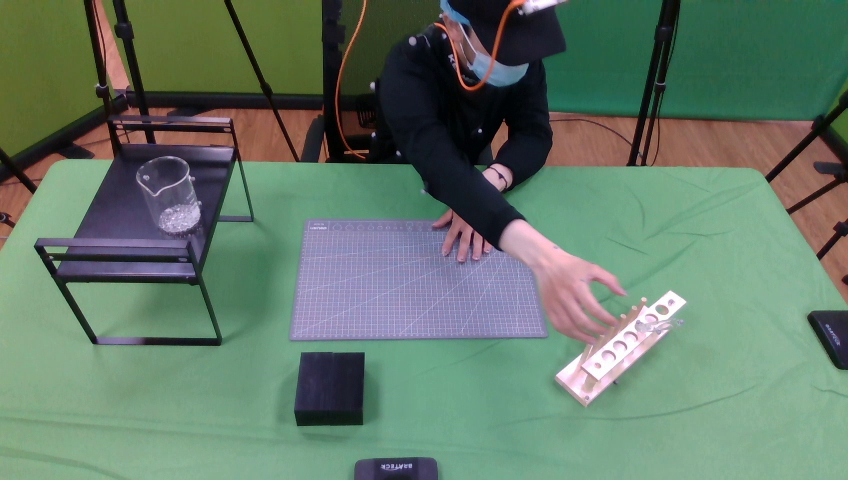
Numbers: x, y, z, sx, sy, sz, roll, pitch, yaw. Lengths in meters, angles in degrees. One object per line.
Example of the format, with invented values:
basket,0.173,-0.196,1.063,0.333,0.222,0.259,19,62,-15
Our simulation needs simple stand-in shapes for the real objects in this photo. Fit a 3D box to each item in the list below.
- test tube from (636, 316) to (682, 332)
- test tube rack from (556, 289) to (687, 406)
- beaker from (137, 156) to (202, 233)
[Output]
test tube,0.358,0.133,0.941,0.017,0.151,0.017,1,78,-4
test tube rack,0.332,0.166,1.014,0.242,0.085,0.066,-30,55,-28
beaker,-0.385,-0.065,0.925,0.074,0.101,0.083,2,47,-1
